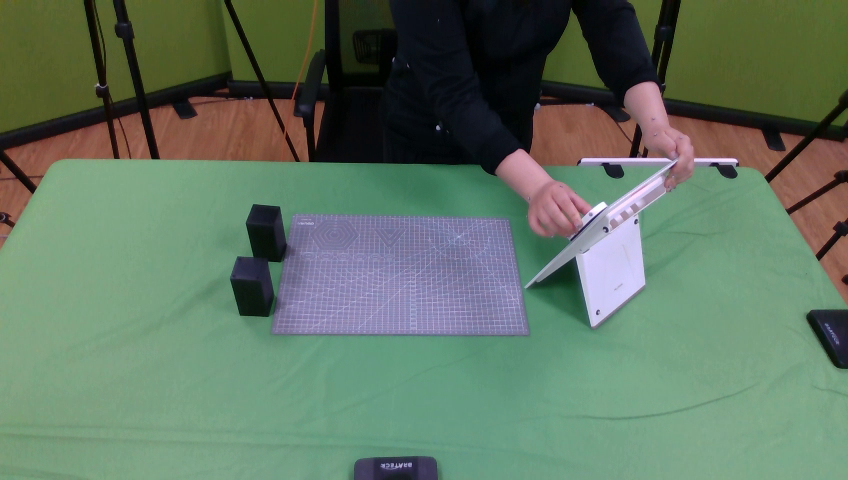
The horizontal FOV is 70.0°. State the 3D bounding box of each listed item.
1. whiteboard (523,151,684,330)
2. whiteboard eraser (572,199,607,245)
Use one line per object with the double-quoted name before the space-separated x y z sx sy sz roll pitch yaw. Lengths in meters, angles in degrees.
"whiteboard" 0.346 0.025 1.047 0.217 0.306 0.143 -30 73 -30
"whiteboard eraser" 0.264 -0.029 0.969 0.019 0.101 0.041 42 62 18
